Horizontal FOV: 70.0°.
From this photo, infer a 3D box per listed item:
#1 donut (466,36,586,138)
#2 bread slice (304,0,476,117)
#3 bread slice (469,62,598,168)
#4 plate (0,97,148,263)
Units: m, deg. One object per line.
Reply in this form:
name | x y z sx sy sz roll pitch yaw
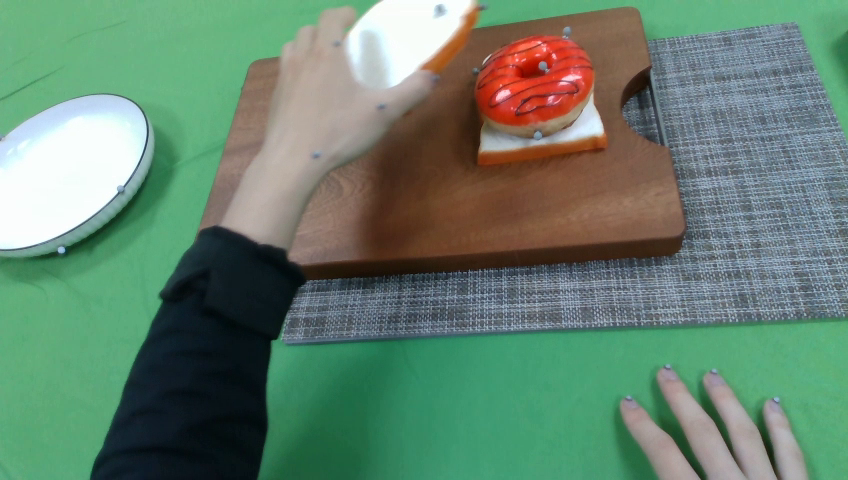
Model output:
donut | 0.083 -0.127 0.497 0.099 0.049 0.098 -8 56 12
bread slice | -0.022 -0.158 0.489 0.106 0.018 0.134 21 66 31
bread slice | 0.088 -0.123 0.530 0.105 0.019 0.130 -8 57 8
plate | -0.378 -0.061 0.626 0.209 0.038 0.207 -7 56 10
